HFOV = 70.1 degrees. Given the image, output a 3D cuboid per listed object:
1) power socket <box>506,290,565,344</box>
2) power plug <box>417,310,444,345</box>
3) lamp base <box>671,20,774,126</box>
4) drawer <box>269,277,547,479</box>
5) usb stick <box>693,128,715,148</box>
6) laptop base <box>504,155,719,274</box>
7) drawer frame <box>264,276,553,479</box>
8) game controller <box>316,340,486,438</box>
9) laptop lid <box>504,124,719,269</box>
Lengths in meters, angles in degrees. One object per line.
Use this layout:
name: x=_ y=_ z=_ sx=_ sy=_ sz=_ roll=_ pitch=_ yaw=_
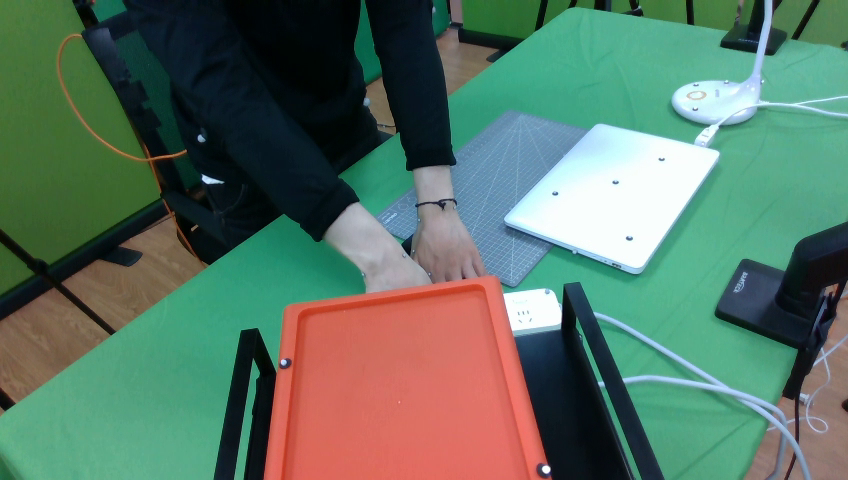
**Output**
power socket: x=0.081 y=0.112 z=0.822 sx=0.227 sy=0.033 sz=0.072 roll=-6 pitch=41 yaw=0
power plug: x=0.006 y=0.122 z=0.783 sx=0.035 sy=0.053 sz=0.072 roll=0 pitch=39 yaw=9
lamp base: x=0.581 y=-0.332 z=1.154 sx=0.179 sy=0.181 sz=0.160 roll=2 pitch=42 yaw=7
drawer: x=-0.018 y=0.137 z=0.493 sx=0.195 sy=0.073 sz=0.210 roll=-7 pitch=41 yaw=-1
usb stick: x=0.502 y=-0.176 z=1.092 sx=0.021 sy=0.027 sz=0.059 roll=29 pitch=55 yaw=28
laptop base: x=0.325 y=-0.083 z=1.028 sx=0.233 sy=0.023 sz=0.355 roll=21 pitch=48 yaw=32
drawer frame: x=-0.016 y=0.137 z=0.490 sx=0.202 sy=0.083 sz=0.212 roll=-8 pitch=41 yaw=-1
game controller: x=-0.021 y=0.120 z=0.534 sx=0.155 sy=0.052 sz=0.096 roll=-3 pitch=37 yaw=0
laptop lid: x=0.323 y=-0.093 z=1.021 sx=0.240 sy=0.013 sz=0.358 roll=23 pitch=49 yaw=33
